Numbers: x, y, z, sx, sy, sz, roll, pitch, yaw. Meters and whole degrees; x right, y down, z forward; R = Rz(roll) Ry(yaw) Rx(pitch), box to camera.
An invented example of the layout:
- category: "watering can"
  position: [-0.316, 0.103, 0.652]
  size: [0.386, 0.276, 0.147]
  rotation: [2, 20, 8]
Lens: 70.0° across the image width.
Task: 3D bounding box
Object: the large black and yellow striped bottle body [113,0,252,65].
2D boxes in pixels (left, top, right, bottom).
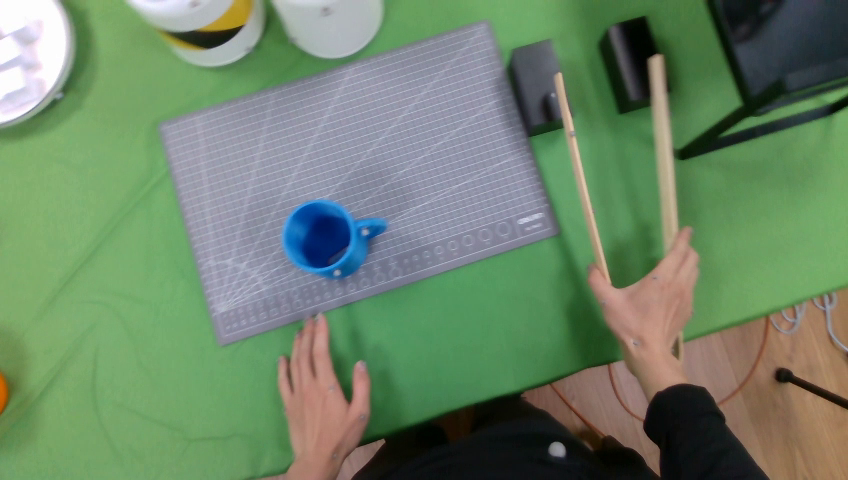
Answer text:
- category: "large black and yellow striped bottle body"
  position: [-0.292, -0.300, 0.710]
  size: [0.131, 0.184, 0.130]
  rotation: [0, 83, 1]

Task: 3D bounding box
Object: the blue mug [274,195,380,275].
- category: "blue mug"
  position: [-0.107, -0.008, 0.716]
  size: [0.116, 0.106, 0.082]
  rotation: [-18, 83, -2]

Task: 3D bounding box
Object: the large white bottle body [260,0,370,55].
- category: "large white bottle body"
  position: [-0.138, -0.314, 0.710]
  size: [0.130, 0.185, 0.130]
  rotation: [0, 84, 1]

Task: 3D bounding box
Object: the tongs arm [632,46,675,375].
- category: "tongs arm"
  position: [0.269, -0.032, 0.721]
  size: [0.028, 0.027, 0.388]
  rotation: [-8, 95, -11]

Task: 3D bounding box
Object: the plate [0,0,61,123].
- category: "plate"
  position: [-0.567, -0.244, 0.781]
  size: [0.208, 0.039, 0.207]
  rotation: [0, 84, 1]

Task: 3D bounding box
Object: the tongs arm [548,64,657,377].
- category: "tongs arm"
  position: [0.212, -0.019, 0.715]
  size: [0.051, 0.026, 0.385]
  rotation: [-14, 96, -7]
